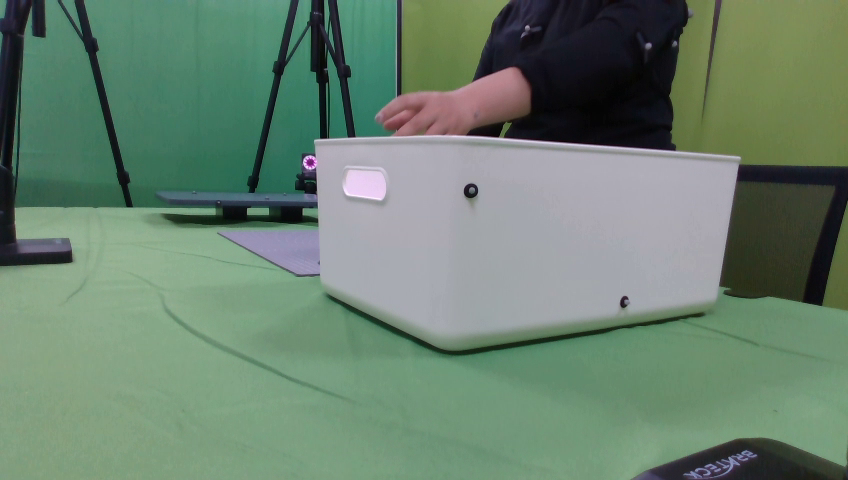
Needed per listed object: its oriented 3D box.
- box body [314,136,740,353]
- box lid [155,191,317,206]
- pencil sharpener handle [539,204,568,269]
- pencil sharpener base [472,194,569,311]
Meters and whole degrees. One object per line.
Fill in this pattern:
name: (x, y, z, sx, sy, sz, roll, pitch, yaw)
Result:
box body: (0.098, -0.012, 0.605, 0.366, 0.160, 0.253, -2, 8, -33)
box lid: (-0.387, -0.091, 1.340, 0.373, 0.015, 0.262, -1, 8, -30)
pencil sharpener handle: (0.138, -0.003, 0.621, 0.031, 0.067, 0.036, -1, 15, -33)
pencil sharpener base: (0.095, 0.010, 0.592, 0.077, 0.107, 0.061, -1, 7, -33)
